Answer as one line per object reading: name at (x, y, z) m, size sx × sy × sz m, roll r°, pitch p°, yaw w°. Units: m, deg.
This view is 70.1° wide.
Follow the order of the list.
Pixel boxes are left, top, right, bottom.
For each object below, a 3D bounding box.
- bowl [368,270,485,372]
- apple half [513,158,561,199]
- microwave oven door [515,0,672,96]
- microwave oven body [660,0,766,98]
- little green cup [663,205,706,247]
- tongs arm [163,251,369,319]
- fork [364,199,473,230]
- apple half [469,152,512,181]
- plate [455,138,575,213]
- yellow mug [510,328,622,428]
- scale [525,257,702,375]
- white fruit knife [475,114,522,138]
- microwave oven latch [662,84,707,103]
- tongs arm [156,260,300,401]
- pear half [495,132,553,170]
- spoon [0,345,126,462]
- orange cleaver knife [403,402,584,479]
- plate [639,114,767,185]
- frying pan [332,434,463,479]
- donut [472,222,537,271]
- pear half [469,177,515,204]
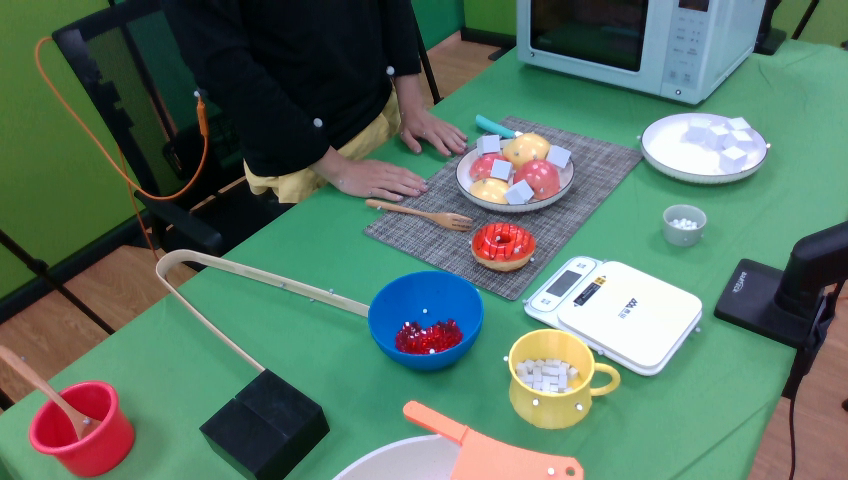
bowl at (0.007, 0.118, 0.791) m, size 0.151 × 0.077 × 0.150 m, roll -5°, pitch 40°, yaw 4°
apple half at (0.193, -0.111, 1.031) m, size 0.080 × 0.053 × 0.075 m, roll 11°, pitch 41°, yaw 26°
microwave oven door at (0.343, -0.454, 1.259) m, size 0.353 × 0.245 × 0.039 m, roll 26°, pitch 51°, yaw 33°
microwave oven body at (0.472, -0.513, 1.317) m, size 0.438 × 0.261 × 0.327 m, roll 26°, pitch 51°, yaw 34°
little green cup at (0.396, -0.020, 0.926) m, size 0.061 × 0.039 × 0.061 m, roll -4°, pitch 40°, yaw 4°
tongs arm at (-0.247, 0.072, 0.917) m, size 0.382 × 0.026 × 0.051 m, roll 16°, pitch 48°, yaw 26°
fork at (-0.014, -0.046, 1.027) m, size 0.206 × 0.028 × 0.019 m, roll 14°, pitch 18°, yaw 27°
apple half at (0.120, -0.138, 1.088) m, size 0.081 × 0.033 × 0.081 m, roll -2°, pitch 46°, yaw 2°
plate at (0.159, -0.111, 1.063) m, size 0.209 × 0.038 × 0.208 m, roll -4°, pitch 40°, yaw 4°
yellow mug at (0.168, 0.164, 0.722) m, size 0.130 × 0.064 × 0.099 m, roll 0°, pitch 40°, yaw 8°
scale at (0.254, 0.091, 0.821) m, size 0.199 × 0.032 × 0.149 m, roll 28°, pitch 51°, yaw 35°
white fruit knife at (0.177, -0.207, 1.190) m, size 0.205 × 0.016 × 0.027 m, roll 31°, pitch 65°, yaw 35°
microwave oven latch at (0.517, -0.296, 1.204) m, size 0.078 × 0.029 × 0.030 m, roll 27°, pitch 52°, yaw 35°
tongs arm at (-0.295, 0.121, 0.869) m, size 0.384 × 0.028 × 0.028 m, roll 28°, pitch 58°, yaw 36°
pear half at (0.174, -0.167, 1.094) m, size 0.109 × 0.056 × 0.076 m, roll 15°, pitch 52°, yaw 30°
spoon at (-0.434, 0.192, 0.720) m, size 0.194 × 0.021 × 0.042 m, roll 47°, pitch 53°, yaw -7°
orange cleaver knife at (0.062, 0.222, 0.609) m, size 0.210 × 0.012 × 0.077 m, roll 15°, pitch 48°, yaw 25°
plate at (0.489, -0.157, 1.074) m, size 0.207 × 0.039 × 0.206 m, roll -4°, pitch 40°, yaw 4°
frying pan at (-0.089, 0.306, 0.564) m, size 0.487 × 0.103 × 0.306 m, roll 10°, pitch 41°, yaw 7°
donut at (0.123, 0.008, 0.923) m, size 0.099 × 0.048 × 0.098 m, roll -3°, pitch 38°, yaw 3°
pear half at (0.115, -0.090, 1.036) m, size 0.087 × 0.031 × 0.071 m, roll 29°, pitch 38°, yaw 32°
